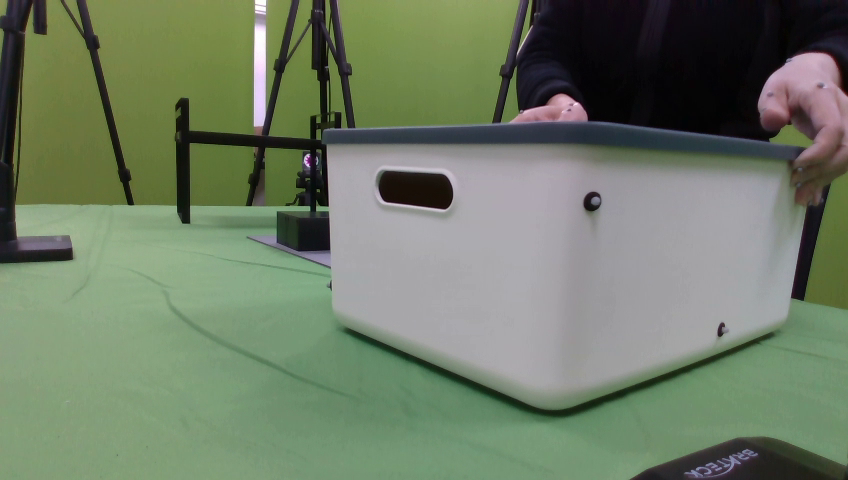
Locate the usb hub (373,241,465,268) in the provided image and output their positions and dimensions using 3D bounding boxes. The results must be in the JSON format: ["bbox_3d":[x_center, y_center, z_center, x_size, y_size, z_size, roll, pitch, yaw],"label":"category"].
[{"bbox_3d":[-0.005,0.018,0.826,0.126,0.025,0.049,-3,9,-39],"label":"usb hub"}]

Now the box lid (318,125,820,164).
[{"bbox_3d":[0.130,-0.075,0.502,0.374,0.015,0.262,-4,10,-40],"label":"box lid"}]

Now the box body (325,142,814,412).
[{"bbox_3d":[0.125,-0.001,0.511,0.366,0.160,0.253,-4,10,-40],"label":"box body"}]
